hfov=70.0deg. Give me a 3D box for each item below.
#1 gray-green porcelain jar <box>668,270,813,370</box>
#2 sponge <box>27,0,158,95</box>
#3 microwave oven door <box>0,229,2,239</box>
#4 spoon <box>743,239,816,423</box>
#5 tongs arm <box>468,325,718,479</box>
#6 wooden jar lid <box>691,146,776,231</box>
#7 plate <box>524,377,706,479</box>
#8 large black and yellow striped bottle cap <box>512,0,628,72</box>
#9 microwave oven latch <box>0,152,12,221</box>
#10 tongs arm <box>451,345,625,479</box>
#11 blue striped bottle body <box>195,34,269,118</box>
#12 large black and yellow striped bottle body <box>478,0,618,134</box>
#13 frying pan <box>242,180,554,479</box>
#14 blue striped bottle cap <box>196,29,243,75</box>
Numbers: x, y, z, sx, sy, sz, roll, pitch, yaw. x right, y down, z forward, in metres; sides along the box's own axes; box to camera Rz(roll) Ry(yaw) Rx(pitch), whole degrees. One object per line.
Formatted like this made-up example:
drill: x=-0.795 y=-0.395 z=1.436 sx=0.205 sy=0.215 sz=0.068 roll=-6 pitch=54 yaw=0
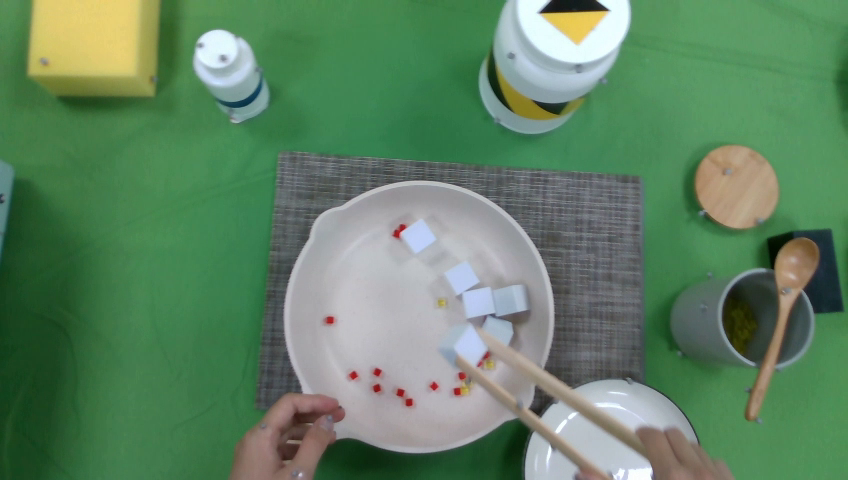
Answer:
gray-green porcelain jar: x=0.346 y=0.092 z=0.684 sx=0.106 sy=0.127 sz=0.105 roll=1 pitch=81 yaw=-4
sponge: x=-0.384 y=-0.280 z=0.712 sx=0.118 sy=0.061 sz=0.206 roll=-1 pitch=82 yaw=-5
microwave oven door: x=-0.487 y=0.142 z=0.531 sx=0.039 sy=0.244 sz=0.354 roll=4 pitch=81 yaw=-4
spoon: x=0.356 y=0.092 z=0.614 sx=0.042 sy=0.021 sz=0.193 roll=20 pitch=84 yaw=-6
tongs arm: x=0.197 y=0.190 z=0.536 sx=0.385 sy=0.028 sz=0.028 roll=33 pitch=51 yaw=18
wooden jar lid: x=0.388 y=-0.064 z=0.764 sx=0.108 sy=0.021 sz=0.108 roll=1 pitch=83 yaw=-4
plate: x=0.213 y=0.260 z=0.691 sx=0.208 sy=0.039 sz=0.207 roll=1 pitch=83 yaw=-4
large black and yellow striped bottle cap: x=0.145 y=-0.224 z=0.601 sx=0.115 sy=0.019 sz=0.114 roll=1 pitch=83 yaw=-4
microwave oven latch: x=-0.478 y=-0.058 z=0.665 sx=0.030 sy=0.029 sz=0.079 roll=7 pitch=81 yaw=-4
tongs arm: x=0.185 y=0.202 z=0.524 sx=0.382 sy=0.027 sz=0.050 roll=37 pitch=56 yaw=21
blue striped bottle body: x=-0.216 y=-0.187 z=0.682 sx=0.063 sy=0.121 sz=0.063 roll=1 pitch=81 yaw=-4
large black and yellow striped bottle body: x=0.138 y=-0.210 z=0.683 sx=0.131 sy=0.184 sz=0.130 roll=1 pitch=80 yaw=-4
frying pan: x=-0.075 y=0.152 z=0.648 sx=0.306 sy=0.103 sz=0.487 roll=44 pitch=73 yaw=4
blue striped bottle cap: x=-0.213 y=-0.197 z=0.632 sx=0.044 sy=0.020 sz=0.044 roll=1 pitch=83 yaw=-4
